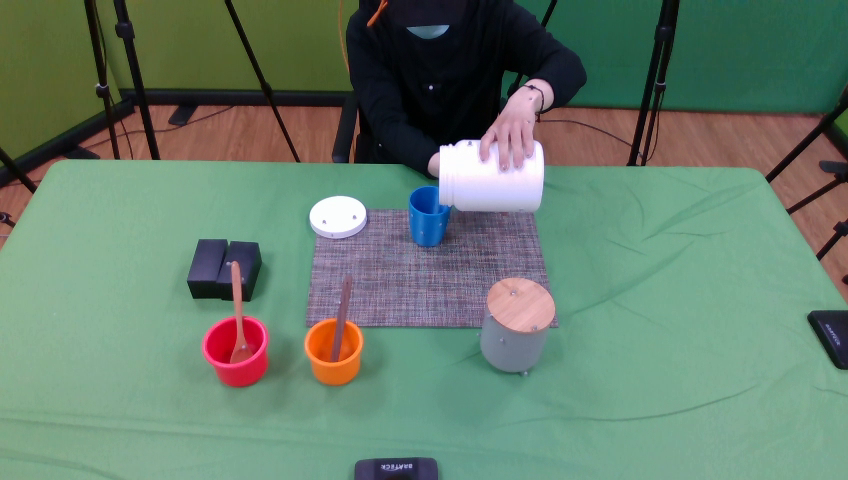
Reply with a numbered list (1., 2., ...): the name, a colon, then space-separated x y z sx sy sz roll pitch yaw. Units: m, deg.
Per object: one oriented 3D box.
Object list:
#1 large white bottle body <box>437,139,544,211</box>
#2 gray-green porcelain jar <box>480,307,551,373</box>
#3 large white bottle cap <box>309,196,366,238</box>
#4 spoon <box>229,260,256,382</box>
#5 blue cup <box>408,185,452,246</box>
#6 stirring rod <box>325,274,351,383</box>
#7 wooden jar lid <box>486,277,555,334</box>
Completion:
1. large white bottle body: 0.117 -0.118 1.103 0.184 0.131 0.130 1 46 2
2. gray-green porcelain jar: 0.148 0.148 0.992 0.106 0.127 0.105 2 46 -2
3. large white bottle cap: -0.176 -0.048 1.229 0.115 0.018 0.114 0 43 0
4. spoon: -0.294 0.129 0.966 0.042 0.021 0.193 -4 91 -7
5. blue cup: 0.008 -0.042 1.177 0.093 0.101 0.092 3 46 -3
6. stirring rod: -0.137 0.142 0.971 0.014 0.006 0.176 9 89 0
7. wooden jar lid: 0.150 0.105 0.948 0.108 0.021 0.107 3 47 -3
